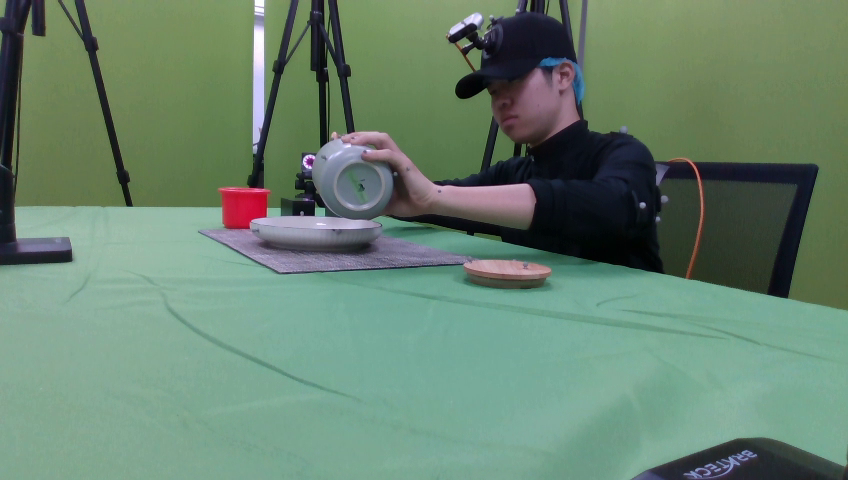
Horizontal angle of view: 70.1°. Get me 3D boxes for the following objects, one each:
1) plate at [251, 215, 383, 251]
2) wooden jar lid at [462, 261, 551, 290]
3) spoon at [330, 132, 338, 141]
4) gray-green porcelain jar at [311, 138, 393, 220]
[{"bbox_3d":[-0.170,-0.012,0.971,0.208,0.039,0.207,2,7,0],"label":"plate"},{"bbox_3d":[0.100,0.043,0.742,0.108,0.020,0.108,2,6,0],"label":"wooden jar lid"},{"bbox_3d":[-0.138,-0.115,0.950,0.042,0.021,0.193,14,35,-25],"label":"spoon"},{"bbox_3d":[-0.105,-0.089,0.871,0.106,0.106,0.126,1,14,-16],"label":"gray-green porcelain jar"}]
